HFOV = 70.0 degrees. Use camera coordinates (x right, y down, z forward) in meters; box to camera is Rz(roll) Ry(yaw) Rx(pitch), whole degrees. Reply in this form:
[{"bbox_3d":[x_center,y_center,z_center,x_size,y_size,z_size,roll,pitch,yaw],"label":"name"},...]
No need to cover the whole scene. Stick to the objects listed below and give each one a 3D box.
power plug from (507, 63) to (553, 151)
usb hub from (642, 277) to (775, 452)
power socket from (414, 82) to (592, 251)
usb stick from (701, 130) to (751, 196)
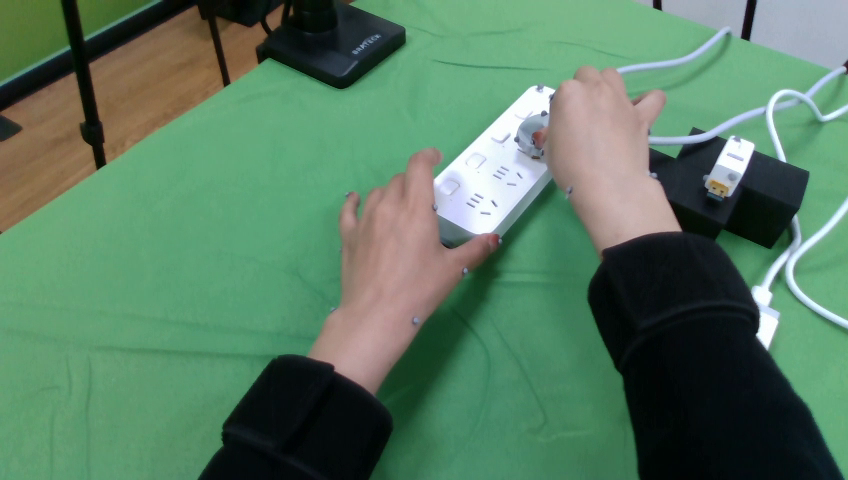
[{"bbox_3d":[0.093,-0.110,0.528,0.035,0.053,0.072,24,51,-11],"label":"power plug"},{"bbox_3d":[0.201,0.082,0.423,0.049,0.025,0.125,29,55,22],"label":"usb hub"},{"bbox_3d":[0.076,-0.074,0.539,0.072,0.033,0.226,31,54,19],"label":"power socket"},{"bbox_3d":[0.235,-0.059,0.475,0.021,0.027,0.059,29,56,18],"label":"usb stick"}]
